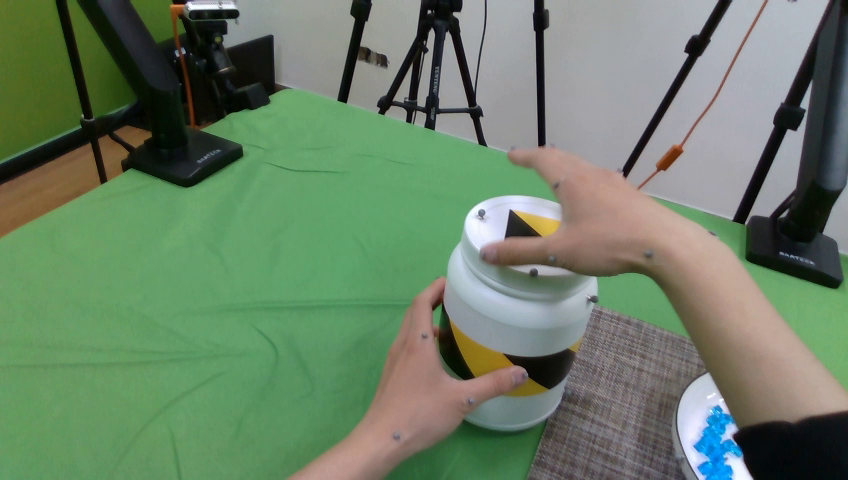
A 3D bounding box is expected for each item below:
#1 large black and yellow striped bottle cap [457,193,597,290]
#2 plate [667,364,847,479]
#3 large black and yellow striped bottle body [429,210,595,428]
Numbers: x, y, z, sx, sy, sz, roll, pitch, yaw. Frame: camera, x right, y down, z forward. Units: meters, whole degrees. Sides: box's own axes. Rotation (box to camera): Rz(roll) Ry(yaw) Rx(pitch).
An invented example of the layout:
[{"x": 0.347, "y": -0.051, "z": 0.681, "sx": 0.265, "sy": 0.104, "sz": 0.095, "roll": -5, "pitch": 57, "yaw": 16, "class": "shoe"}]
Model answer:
[{"x": 0.085, "y": -0.002, "z": 0.501, "sx": 0.115, "sy": 0.019, "sz": 0.114, "roll": 7, "pitch": 36, "yaw": -4, "class": "large black and yellow striped bottle cap"}, {"x": 0.316, "y": 0.200, "z": 0.532, "sx": 0.208, "sy": 0.039, "sz": 0.205, "roll": 5, "pitch": 36, "yaw": -4, "class": "plate"}, {"x": 0.078, "y": 0.066, "z": 0.550, "sx": 0.131, "sy": 0.185, "sz": 0.129, "roll": 5, "pitch": 37, "yaw": -3, "class": "large black and yellow striped bottle body"}]
